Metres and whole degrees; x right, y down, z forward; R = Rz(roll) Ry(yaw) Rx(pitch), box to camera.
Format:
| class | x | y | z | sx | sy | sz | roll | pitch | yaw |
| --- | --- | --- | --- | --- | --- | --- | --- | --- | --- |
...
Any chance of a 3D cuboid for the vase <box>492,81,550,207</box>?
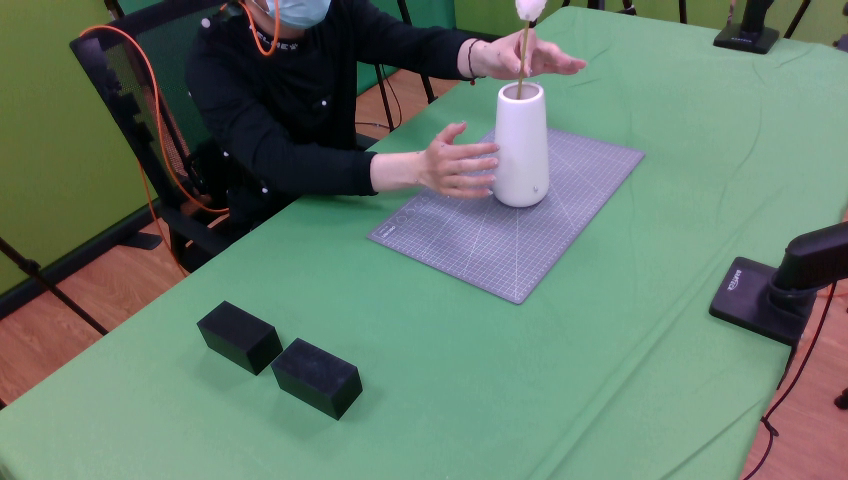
| class | x | y | z | sx | sy | sz | roll | pitch | yaw |
| --- | --- | --- | --- | --- | --- | --- | --- | --- | --- |
| vase | 0.159 | -0.152 | 0.982 | 0.098 | 0.201 | 0.097 | -3 | 41 | 3 |

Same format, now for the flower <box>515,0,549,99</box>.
| class | x | y | z | sx | sy | sz | roll | pitch | yaw |
| --- | --- | --- | --- | --- | --- | --- | --- | --- | --- |
| flower | 0.146 | -0.226 | 0.934 | 0.044 | 0.363 | 0.038 | 14 | 46 | 11 |
